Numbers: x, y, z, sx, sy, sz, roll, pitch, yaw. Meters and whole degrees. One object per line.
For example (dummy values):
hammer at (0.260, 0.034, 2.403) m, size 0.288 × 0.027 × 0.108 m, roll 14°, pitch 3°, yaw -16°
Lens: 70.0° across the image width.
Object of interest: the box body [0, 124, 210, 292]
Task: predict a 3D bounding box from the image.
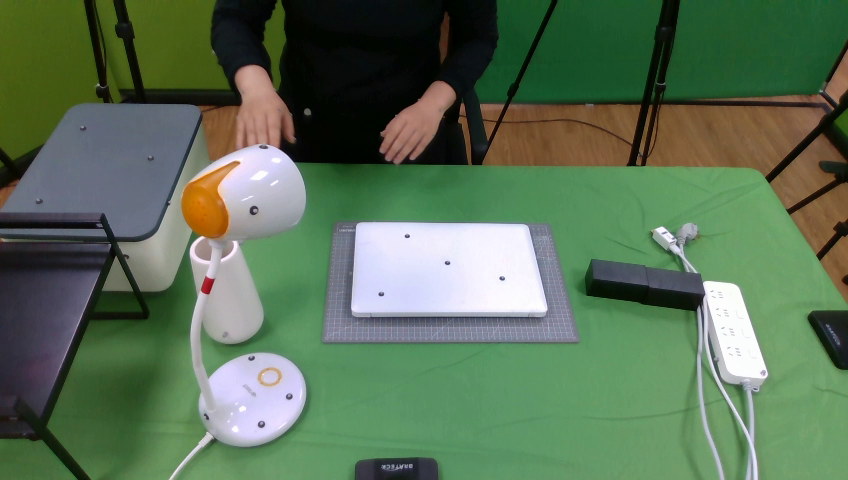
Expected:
box body at (-0.567, -0.082, 1.133) m, size 0.254 × 0.161 × 0.361 m, roll 2°, pitch 46°, yaw -3°

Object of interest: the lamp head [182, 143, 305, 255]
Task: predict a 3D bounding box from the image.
lamp head at (-0.216, -0.044, 0.697) m, size 0.112 × 0.113 × 0.123 m, roll 23°, pitch 31°, yaw 17°

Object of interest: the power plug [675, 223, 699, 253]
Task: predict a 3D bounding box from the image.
power plug at (0.537, 0.000, 1.244) m, size 0.053 × 0.035 × 0.072 m, roll 19°, pitch 82°, yaw -17°

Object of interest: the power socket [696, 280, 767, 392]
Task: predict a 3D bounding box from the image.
power socket at (0.543, 0.160, 1.077) m, size 0.072 × 0.033 × 0.225 m, roll 5°, pitch 46°, yaw 2°

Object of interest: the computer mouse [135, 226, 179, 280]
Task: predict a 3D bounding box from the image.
computer mouse at (-0.492, 0.020, 1.118) m, size 0.063 × 0.041 × 0.116 m, roll 1°, pitch 54°, yaw -10°

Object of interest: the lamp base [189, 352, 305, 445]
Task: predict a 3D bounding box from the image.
lamp base at (-0.268, 0.196, 0.876) m, size 0.160 × 0.181 × 0.179 m, roll 25°, pitch 52°, yaw 20°

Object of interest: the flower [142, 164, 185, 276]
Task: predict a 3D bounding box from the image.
flower at (-0.492, -0.055, 1.173) m, size 0.044 × 0.038 × 0.359 m, roll -39°, pitch 34°, yaw 19°

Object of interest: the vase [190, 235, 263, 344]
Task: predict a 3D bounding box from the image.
vase at (-0.317, 0.081, 0.971) m, size 0.098 × 0.201 × 0.097 m, roll 3°, pitch 47°, yaw -3°

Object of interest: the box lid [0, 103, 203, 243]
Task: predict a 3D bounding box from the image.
box lid at (-0.563, -0.132, 1.079) m, size 0.263 × 0.015 × 0.369 m, roll 1°, pitch 46°, yaw -3°

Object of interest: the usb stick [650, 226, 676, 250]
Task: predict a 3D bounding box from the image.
usb stick at (0.485, -0.008, 1.238) m, size 0.021 × 0.027 × 0.059 m, roll -22°, pitch 44°, yaw -13°

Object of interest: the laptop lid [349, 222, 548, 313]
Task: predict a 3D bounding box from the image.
laptop lid at (0.042, 0.046, 1.142) m, size 0.357 × 0.013 × 0.240 m, roll 2°, pitch 44°, yaw -3°

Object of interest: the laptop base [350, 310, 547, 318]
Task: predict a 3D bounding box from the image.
laptop base at (0.041, 0.056, 1.149) m, size 0.355 × 0.023 × 0.234 m, roll 0°, pitch 42°, yaw -4°
